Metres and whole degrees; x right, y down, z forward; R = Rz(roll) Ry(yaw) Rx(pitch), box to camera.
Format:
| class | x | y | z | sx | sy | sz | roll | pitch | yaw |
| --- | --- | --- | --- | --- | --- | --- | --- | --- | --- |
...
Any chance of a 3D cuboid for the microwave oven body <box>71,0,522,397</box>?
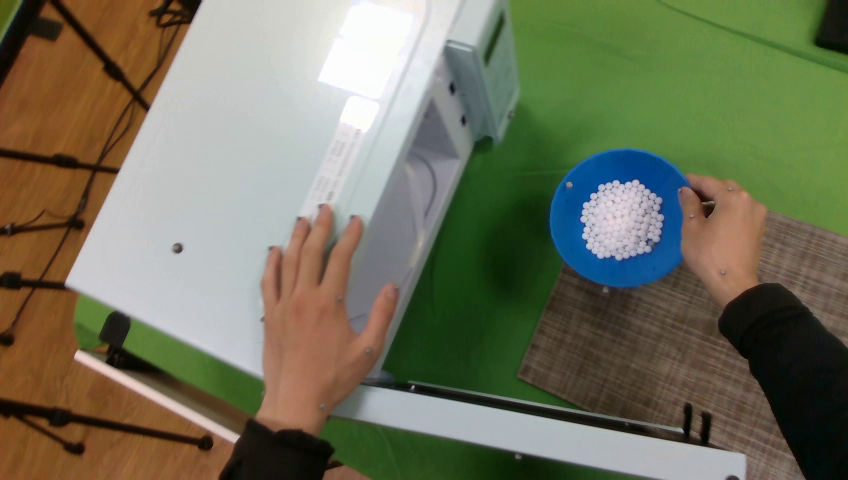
| class | x | y | z | sx | sy | sz | roll | pitch | yaw |
| --- | --- | --- | --- | --- | --- | --- | --- | --- | --- |
| microwave oven body | -0.120 | -0.081 | 0.702 | 0.324 | 0.262 | 0.441 | 21 | 83 | 15 |

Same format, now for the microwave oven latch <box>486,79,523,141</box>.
| class | x | y | z | sx | sy | sz | roll | pitch | yaw |
| --- | --- | --- | --- | --- | --- | --- | --- | --- | --- |
| microwave oven latch | 0.103 | -0.170 | 0.775 | 0.030 | 0.030 | 0.079 | 21 | 83 | 16 |

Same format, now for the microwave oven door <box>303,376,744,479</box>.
| class | x | y | z | sx | sy | sz | roll | pitch | yaw |
| --- | --- | --- | --- | --- | --- | --- | --- | --- | --- |
| microwave oven door | 0.091 | 0.178 | 0.593 | 0.355 | 0.245 | 0.039 | 6 | 78 | 14 |

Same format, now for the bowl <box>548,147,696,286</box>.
| class | x | y | z | sx | sy | sz | roll | pitch | yaw |
| --- | --- | --- | --- | --- | --- | --- | --- | --- | --- |
| bowl | 0.218 | -0.020 | 0.676 | 0.151 | 0.077 | 0.151 | -2 | 82 | 15 |
